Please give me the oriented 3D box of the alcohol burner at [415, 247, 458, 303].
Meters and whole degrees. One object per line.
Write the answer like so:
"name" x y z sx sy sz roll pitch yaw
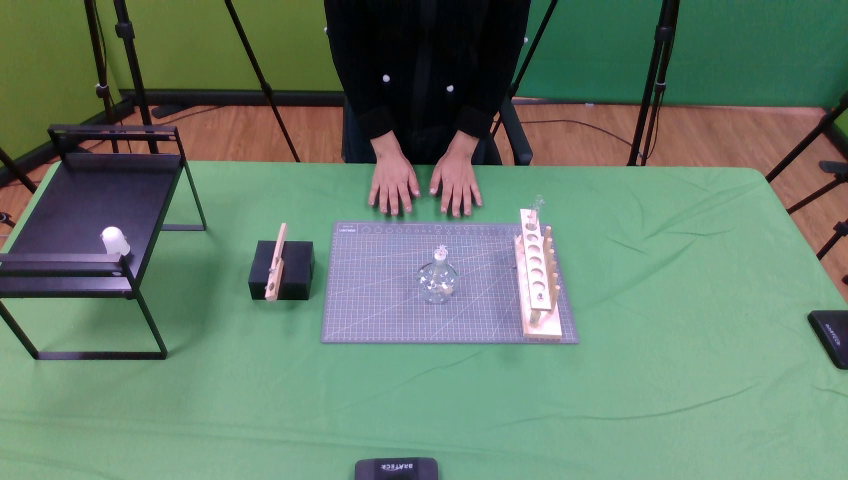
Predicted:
"alcohol burner" 0.024 0.057 1.078 0.078 0.119 0.077 3 44 -3

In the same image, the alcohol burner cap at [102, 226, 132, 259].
"alcohol burner cap" -0.456 0.001 0.897 0.034 0.048 0.033 2 46 -1

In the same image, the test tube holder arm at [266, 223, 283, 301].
"test tube holder arm" -0.265 0.035 1.080 0.013 0.015 0.177 -5 47 -1

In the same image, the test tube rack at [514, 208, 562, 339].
"test tube rack" 0.212 0.056 1.113 0.067 0.085 0.241 3 46 -1

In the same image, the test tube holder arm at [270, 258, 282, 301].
"test tube holder arm" -0.256 0.067 1.049 0.010 0.015 0.087 -4 47 -1

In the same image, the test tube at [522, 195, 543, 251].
"test tube" 0.200 -0.028 1.125 0.017 0.151 0.017 1 50 -1
